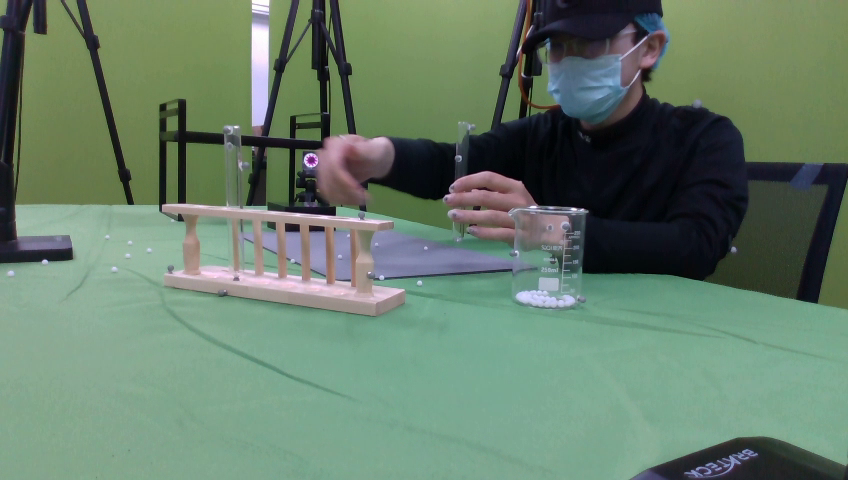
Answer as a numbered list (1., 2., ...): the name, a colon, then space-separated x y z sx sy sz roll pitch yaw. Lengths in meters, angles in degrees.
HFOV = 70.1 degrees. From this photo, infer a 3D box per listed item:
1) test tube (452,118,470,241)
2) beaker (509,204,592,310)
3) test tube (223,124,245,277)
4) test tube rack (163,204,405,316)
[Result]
1. test tube: 0.046 -0.073 0.744 0.017 0.150 0.017 2 7 0
2. beaker: 0.125 0.016 0.613 0.084 0.100 0.074 1 7 -5
3. test tube: -0.185 -0.037 0.592 0.017 0.150 0.017 2 11 0
4. test tube rack: -0.141 0.013 0.601 0.241 0.085 0.067 5 8 21
